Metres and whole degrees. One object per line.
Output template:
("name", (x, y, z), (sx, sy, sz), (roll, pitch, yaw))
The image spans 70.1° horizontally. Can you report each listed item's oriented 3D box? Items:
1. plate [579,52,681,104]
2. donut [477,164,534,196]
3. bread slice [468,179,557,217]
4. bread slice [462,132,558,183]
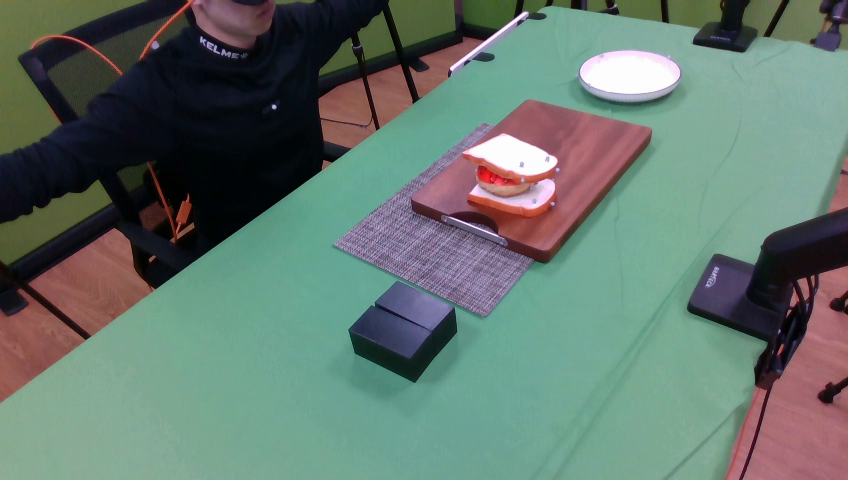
("plate", (0.437, -0.343, 1.294), (0.209, 0.038, 0.208), (-4, 40, 4))
("donut", (0.136, -0.109, 0.991), (0.099, 0.048, 0.098), (-4, 39, 3))
("bread slice", (0.154, -0.083, 1.003), (0.130, 0.019, 0.105), (19, 48, 29))
("bread slice", (0.146, -0.131, 0.971), (0.133, 0.018, 0.107), (29, 43, 31))
